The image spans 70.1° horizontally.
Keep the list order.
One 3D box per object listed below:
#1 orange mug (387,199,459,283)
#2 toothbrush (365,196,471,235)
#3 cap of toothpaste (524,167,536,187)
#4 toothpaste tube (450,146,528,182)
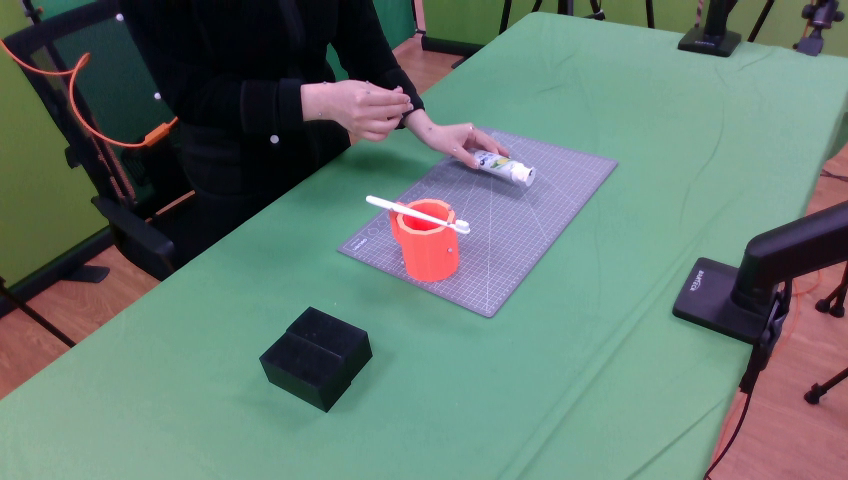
[{"bbox_3d":[-0.006,-0.007,0.923,0.125,0.101,0.084,33,54,32],"label":"orange mug"},{"bbox_3d":[-0.013,-0.039,0.880,0.180,0.017,0.014,18,50,27],"label":"toothbrush"},{"bbox_3d":[0.182,-0.110,1.045,0.011,0.037,0.037,20,47,24],"label":"cap of toothpaste"},{"bbox_3d":[0.125,-0.140,1.095,0.163,0.034,0.055,26,46,37],"label":"toothpaste tube"}]
